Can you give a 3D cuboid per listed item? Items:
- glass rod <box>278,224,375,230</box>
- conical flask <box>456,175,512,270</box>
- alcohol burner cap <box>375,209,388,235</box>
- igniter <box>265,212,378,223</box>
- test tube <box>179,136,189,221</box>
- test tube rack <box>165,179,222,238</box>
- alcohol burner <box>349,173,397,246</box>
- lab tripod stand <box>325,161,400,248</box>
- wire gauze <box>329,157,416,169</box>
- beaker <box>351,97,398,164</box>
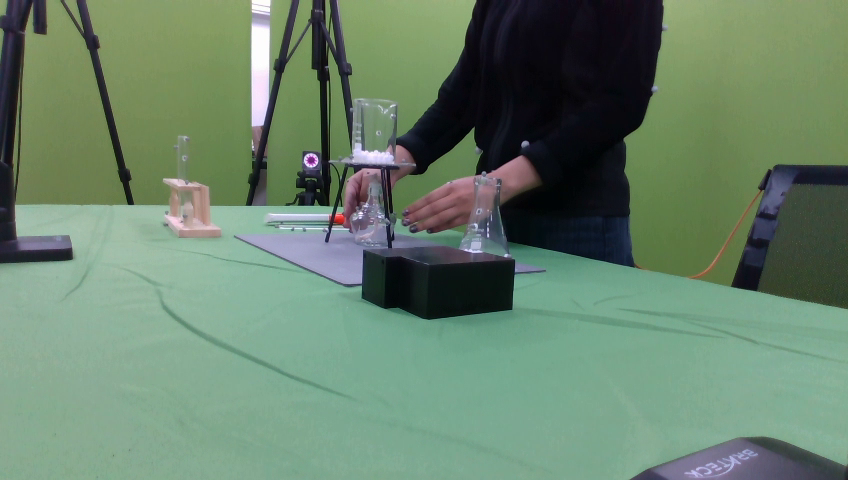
[{"bbox_3d":[-0.186,-0.024,1.177,0.201,0.008,0.008,1,7,-30],"label":"glass rod"},{"bbox_3d":[0.082,-0.025,0.801,0.075,0.122,0.075,2,7,0],"label":"conical flask"},{"bbox_3d":[-0.076,-0.035,1.145,0.034,0.048,0.034,1,7,0],"label":"alcohol burner cap"},{"bbox_3d":[-0.196,-0.048,1.285,0.278,0.025,0.057,-2,-2,-30],"label":"igniter"},{"bbox_3d":[-0.425,-0.108,1.070,0.017,0.150,0.017,4,9,0],"label":"test tube"},{"bbox_3d":[-0.423,-0.062,1.098,0.067,0.085,0.241,-2,9,-28],"label":"test tube rack"},{"bbox_3d":[-0.081,-0.050,0.982,0.078,0.119,0.078,4,8,0],"label":"alcohol burner"},{"bbox_3d":[-0.083,-0.059,0.977,0.148,0.131,0.148,4,8,0],"label":"lab tripod stand"},{"bbox_3d":[-0.079,-0.125,0.972,0.121,0.011,0.125,6,6,5],"label":"wire gauze"},{"bbox_3d":[-0.078,-0.172,0.962,0.074,0.100,0.084,6,8,19],"label":"beaker"}]
